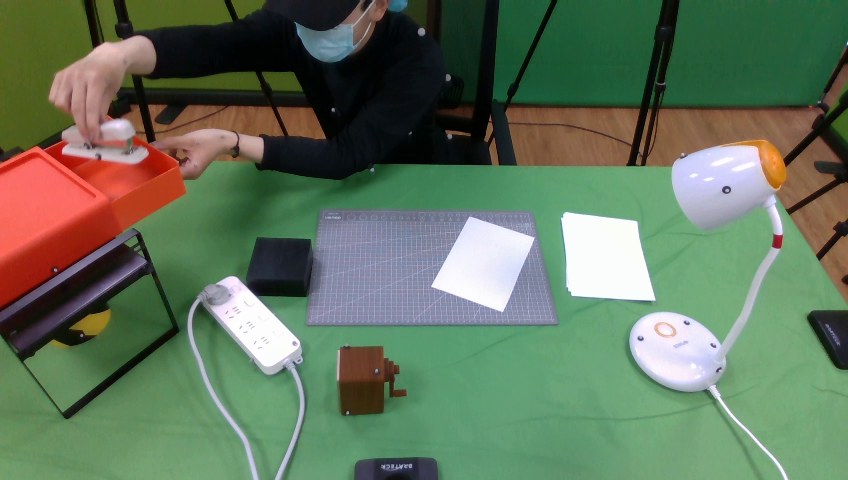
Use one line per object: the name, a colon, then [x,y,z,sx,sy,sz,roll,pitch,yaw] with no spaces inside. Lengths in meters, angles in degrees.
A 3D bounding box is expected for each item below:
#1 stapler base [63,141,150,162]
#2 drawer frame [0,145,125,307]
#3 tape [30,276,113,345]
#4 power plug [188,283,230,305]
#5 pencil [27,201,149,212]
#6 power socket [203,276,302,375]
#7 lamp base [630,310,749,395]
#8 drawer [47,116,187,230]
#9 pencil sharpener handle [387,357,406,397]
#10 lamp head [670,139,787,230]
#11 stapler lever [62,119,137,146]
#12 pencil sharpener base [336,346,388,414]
stapler base: [-0.486,-0.144,0.925,0.130,0.024,0.041,7,36,11]
drawer frame: [-0.597,-0.024,0.887,0.201,0.083,0.213,30,52,22]
tape: [-0.594,0.117,1.022,0.117,0.053,0.116,2,45,-2]
power plug: [-0.368,0.099,1.037,0.072,0.053,0.035,-23,52,-25]
pencil: [-0.529,-0.051,0.955,0.194,0.012,0.012,3,46,2]
power socket: [-0.297,0.141,1.034,0.072,0.033,0.225,-34,58,-30]
lamp base: [0.447,0.142,0.984,0.161,0.181,0.178,-24,55,-24]
drawer: [-0.524,-0.088,0.958,0.193,0.073,0.211,31,53,23]
pencil sharpener handle: [-0.041,0.209,0.919,0.031,0.068,0.036,-1,25,-6]
lamp head: [0.415,-0.079,0.812,0.113,0.123,0.112,13,70,-37]
stapler lever: [-0.488,-0.164,0.909,0.118,0.040,0.026,7,36,11]
pencil sharpener base: [-0.094,0.215,0.927,0.077,0.107,0.061,-1,46,-6]
